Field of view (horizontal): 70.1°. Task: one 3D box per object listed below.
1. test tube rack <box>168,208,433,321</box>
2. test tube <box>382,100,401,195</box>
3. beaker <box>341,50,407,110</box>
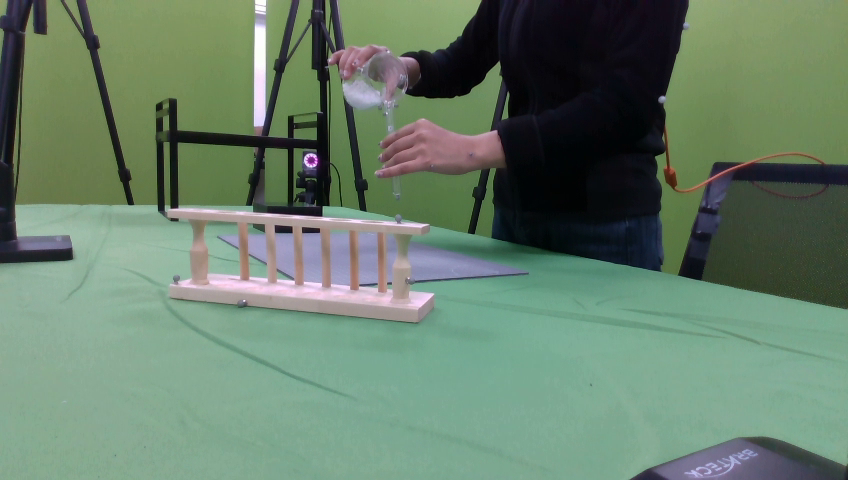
[{"bbox_3d":[-0.116,0.017,0.574,0.242,0.085,0.067,4,8,13],"label":"test tube rack"},{"bbox_3d":[-0.050,-0.142,0.926,0.017,0.150,0.017,-6,-11,-1],"label":"test tube"},{"bbox_3d":[-0.084,-0.252,0.977,0.074,0.084,0.100,-5,2,-33],"label":"beaker"}]
